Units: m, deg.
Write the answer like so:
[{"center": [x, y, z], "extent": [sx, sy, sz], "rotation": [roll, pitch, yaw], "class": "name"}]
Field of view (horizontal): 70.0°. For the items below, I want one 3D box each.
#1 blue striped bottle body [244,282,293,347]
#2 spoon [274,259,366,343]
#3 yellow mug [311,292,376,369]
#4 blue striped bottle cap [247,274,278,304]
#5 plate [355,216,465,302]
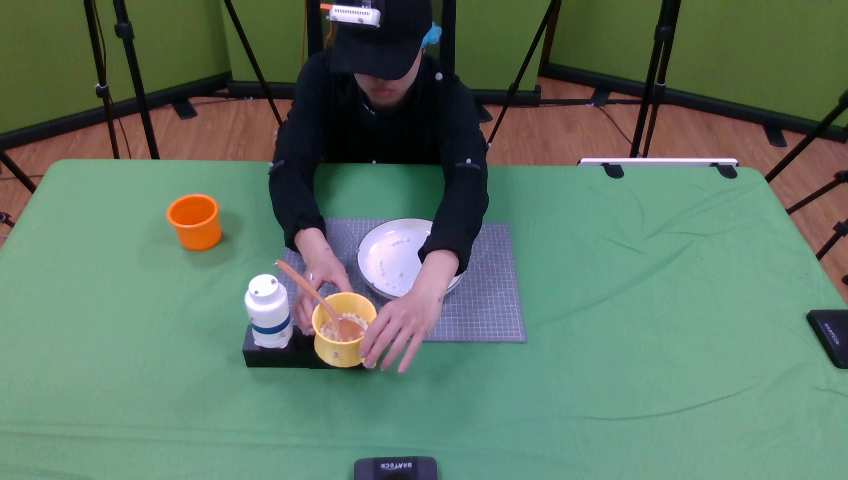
[{"center": [-0.241, 0.108, 0.937], "extent": [0.063, 0.121, 0.062], "rotation": [2, 47, -2], "class": "blue striped bottle body"}, {"center": [-0.161, 0.098, 0.946], "extent": [0.194, 0.021, 0.041], "rotation": [47, 57, -6], "class": "spoon"}, {"center": [-0.115, 0.149, 0.945], "extent": [0.100, 0.064, 0.130], "rotation": [-30, 56, -27], "class": "yellow mug"}, {"center": [-0.239, 0.072, 0.900], "extent": [0.044, 0.021, 0.044], "rotation": [4, 46, -4], "class": "blue striped bottle cap"}, {"center": [-0.026, 0.039, 1.144], "extent": [0.208, 0.039, 0.206], "rotation": [2, 46, -2], "class": "plate"}]
